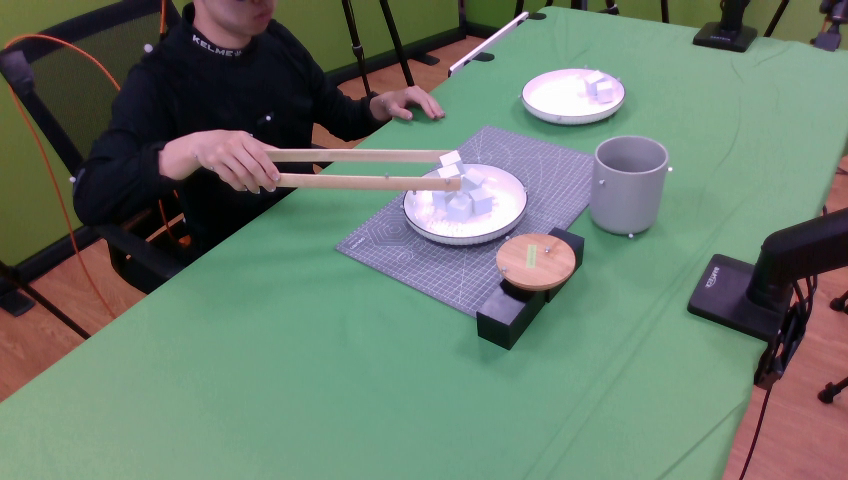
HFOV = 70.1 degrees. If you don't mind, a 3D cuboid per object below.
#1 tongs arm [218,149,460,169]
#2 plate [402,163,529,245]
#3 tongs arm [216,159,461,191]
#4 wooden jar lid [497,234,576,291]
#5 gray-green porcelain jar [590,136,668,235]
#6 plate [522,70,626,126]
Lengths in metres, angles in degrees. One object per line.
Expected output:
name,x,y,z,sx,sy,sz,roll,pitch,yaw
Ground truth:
tongs arm,-0.134,-0.132,0.984,0.388,0.028,0.028,-1,49,-3
plate,0.069,-0.056,1.008,0.209,0.038,0.208,-4,40,4
tongs arm,-0.135,-0.103,0.954,0.385,0.026,0.050,0,45,-2
wooden jar lid,0.155,0.032,0.834,0.108,0.021,0.108,-5,40,5
gray-green porcelain jar,0.314,-0.080,0.937,0.106,0.127,0.105,-4,41,4
plate,0.308,-0.290,1.251,0.207,0.039,0.206,-4,40,4
